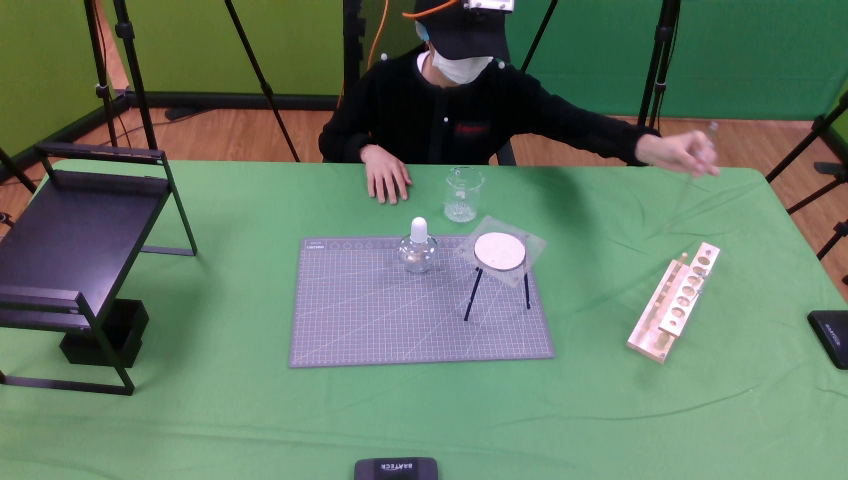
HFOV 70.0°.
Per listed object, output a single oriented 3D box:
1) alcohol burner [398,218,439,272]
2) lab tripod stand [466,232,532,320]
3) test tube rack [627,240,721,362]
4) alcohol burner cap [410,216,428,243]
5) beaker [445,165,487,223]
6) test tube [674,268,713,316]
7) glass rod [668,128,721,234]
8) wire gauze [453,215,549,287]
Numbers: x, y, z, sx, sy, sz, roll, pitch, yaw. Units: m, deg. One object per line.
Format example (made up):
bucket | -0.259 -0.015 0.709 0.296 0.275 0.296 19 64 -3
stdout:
alcohol burner | -0.010 0.004 1.123 0.078 0.120 0.077 1 47 -1
lab tripod stand | 0.125 0.059 1.065 0.148 0.132 0.147 1 45 0
test tube rack | 0.452 0.098 1.087 0.066 0.085 0.242 28 51 22
alcohol burner cap | -0.009 -0.022 1.099 0.034 0.048 0.033 2 41 -1
beaker | 0.082 -0.091 1.236 0.084 0.101 0.073 -7 48 -11
test tube | 0.445 0.098 1.017 0.017 0.151 0.017 4 48 -4
glass rod | 0.443 -0.092 0.995 0.008 0.200 0.008 8 34 -5
wire gauze | 0.129 0.012 1.017 0.124 0.011 0.121 28 50 23
